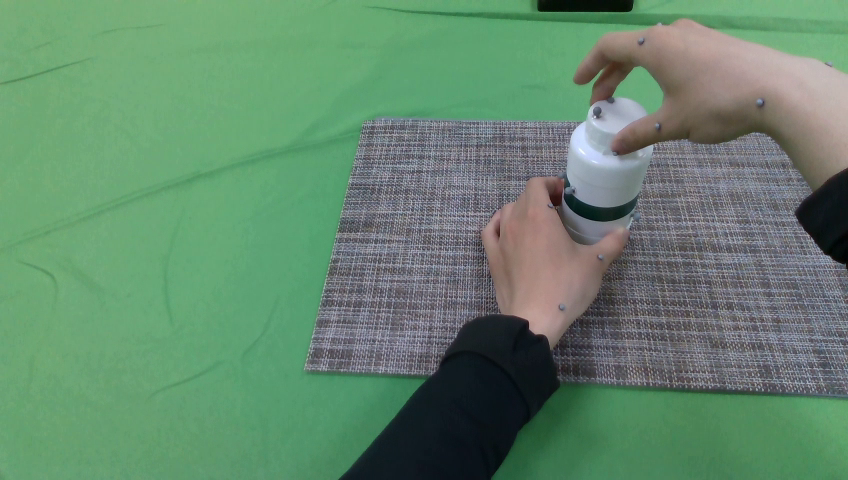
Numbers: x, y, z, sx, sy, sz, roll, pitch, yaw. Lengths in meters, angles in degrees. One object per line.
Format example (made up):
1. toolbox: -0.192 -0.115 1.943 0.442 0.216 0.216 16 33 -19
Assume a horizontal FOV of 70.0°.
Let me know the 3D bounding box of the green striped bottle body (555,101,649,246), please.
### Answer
1. green striped bottle body: 0.145 -0.055 0.498 0.063 0.120 0.062 -2 50 3

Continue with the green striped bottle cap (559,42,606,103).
1. green striped bottle cap: 0.123 -0.130 0.472 0.020 0.045 0.044 28 58 30
